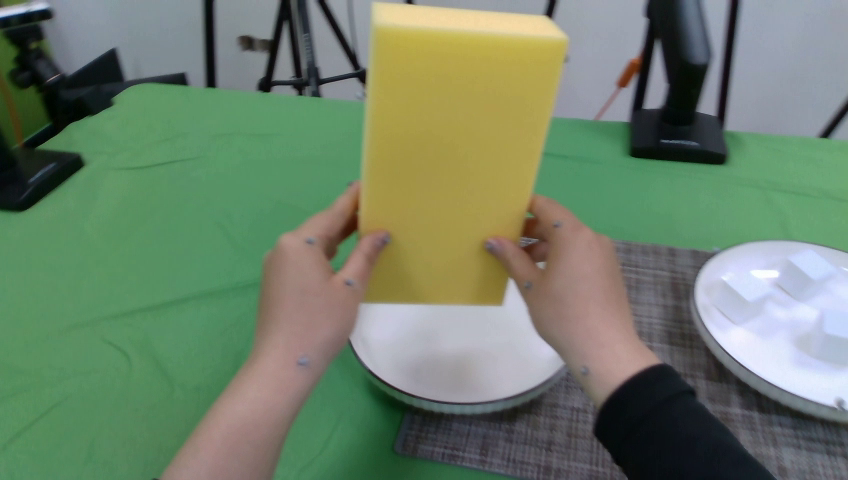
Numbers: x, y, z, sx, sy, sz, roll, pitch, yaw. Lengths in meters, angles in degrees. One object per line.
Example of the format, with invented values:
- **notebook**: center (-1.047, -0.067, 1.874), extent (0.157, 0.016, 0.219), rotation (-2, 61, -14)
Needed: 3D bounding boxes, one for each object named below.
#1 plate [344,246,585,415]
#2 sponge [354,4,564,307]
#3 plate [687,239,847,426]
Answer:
- **plate**: center (0.035, 0.073, 0.539), extent (0.209, 0.038, 0.207), rotation (-1, 38, 1)
- **sponge**: center (0.013, -0.051, 0.433), extent (0.118, 0.208, 0.060), rotation (3, 33, -9)
- **plate**: center (0.333, 0.077, 0.520), extent (0.208, 0.039, 0.205), rotation (-1, 38, 1)
